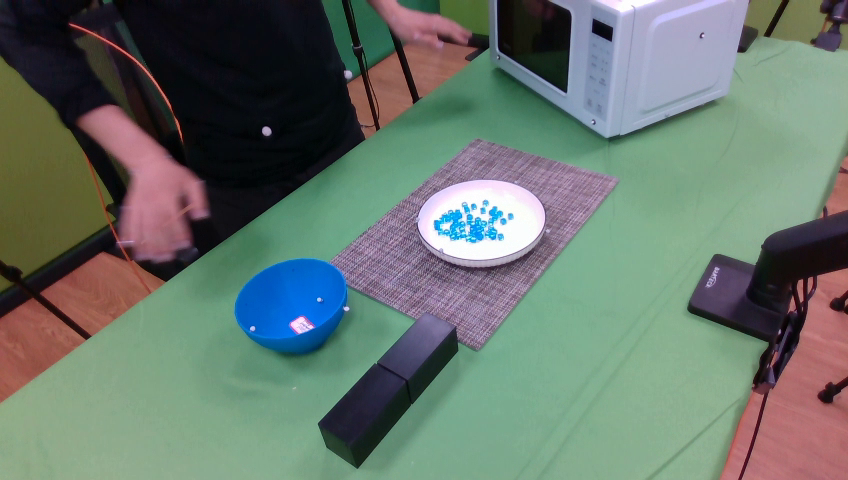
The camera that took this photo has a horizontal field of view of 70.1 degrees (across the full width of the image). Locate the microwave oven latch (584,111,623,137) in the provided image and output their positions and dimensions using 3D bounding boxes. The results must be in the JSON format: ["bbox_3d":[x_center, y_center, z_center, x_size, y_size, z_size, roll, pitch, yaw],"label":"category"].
[{"bbox_3d":[0.337,-0.222,1.142,0.030,0.029,0.078,-21,42,-14],"label":"microwave oven latch"}]

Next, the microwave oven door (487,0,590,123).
[{"bbox_3d":[0.232,-0.420,1.231,0.039,0.245,0.352,-22,43,-16],"label":"microwave oven door"}]

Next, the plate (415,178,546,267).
[{"bbox_3d":[0.091,-0.026,0.970,0.207,0.039,0.206,-4,41,4],"label":"plate"}]

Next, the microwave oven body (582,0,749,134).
[{"bbox_3d":[0.382,-0.444,1.246,0.327,0.261,0.437,-22,42,-16],"label":"microwave oven body"}]

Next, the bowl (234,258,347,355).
[{"bbox_3d":[-0.174,0.103,0.831,0.151,0.077,0.150,-4,41,3],"label":"bowl"}]
